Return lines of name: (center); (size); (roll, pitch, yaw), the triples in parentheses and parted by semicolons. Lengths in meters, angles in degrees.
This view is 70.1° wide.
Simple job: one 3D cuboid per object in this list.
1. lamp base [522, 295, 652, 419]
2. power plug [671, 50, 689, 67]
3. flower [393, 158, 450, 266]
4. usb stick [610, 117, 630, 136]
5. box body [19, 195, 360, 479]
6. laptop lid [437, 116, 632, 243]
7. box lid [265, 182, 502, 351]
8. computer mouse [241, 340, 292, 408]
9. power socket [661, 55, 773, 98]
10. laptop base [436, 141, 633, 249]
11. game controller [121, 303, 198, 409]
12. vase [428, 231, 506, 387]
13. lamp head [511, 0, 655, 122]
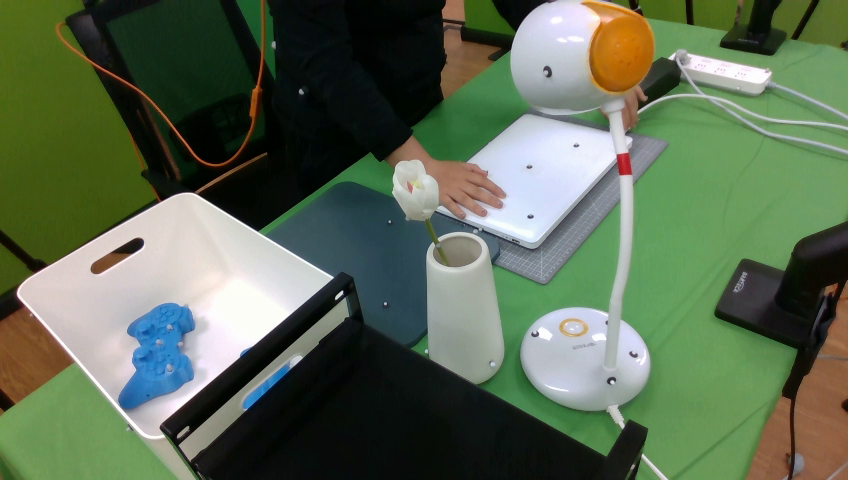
lamp base: (0.201, 0.095, 0.710); (0.161, 0.181, 0.178); (-16, 43, -10)
power plug: (0.540, -0.379, 1.302); (0.073, 0.053, 0.035); (-31, 46, -23)
flower: (0.028, 0.036, 0.664); (0.043, 0.364, 0.038); (36, 73, 30)
usb stick: (0.369, -0.208, 1.148); (0.021, 0.027, 0.059); (22, 55, 33)
box body: (-0.288, 0.118, 0.772); (0.361, 0.161, 0.255); (26, 50, 33)
laptop lid: (0.189, -0.126, 1.082); (0.239, 0.013, 0.358); (23, 48, 35)
box lid: (-0.087, 0.023, 0.971); (0.368, 0.015, 0.264); (23, 49, 31)
computer mouse: (-0.201, 0.177, 0.775); (0.063, 0.041, 0.116); (-11, 45, -8)
power socket: (0.619, -0.352, 1.289); (0.225, 0.033, 0.072); (26, 51, 33)
laptop base: (0.193, -0.116, 1.087); (0.233, 0.023, 0.355); (21, 47, 34)
game controller: (-0.364, 0.149, 0.828); (0.097, 0.052, 0.154); (-13, 41, -9)
vase: (0.050, 0.087, 0.728); (0.098, 0.201, 0.097); (-3, 40, 3)
lamp head: (0.155, -0.168, 0.563); (0.113, 0.113, 0.122); (-18, 23, -12)
